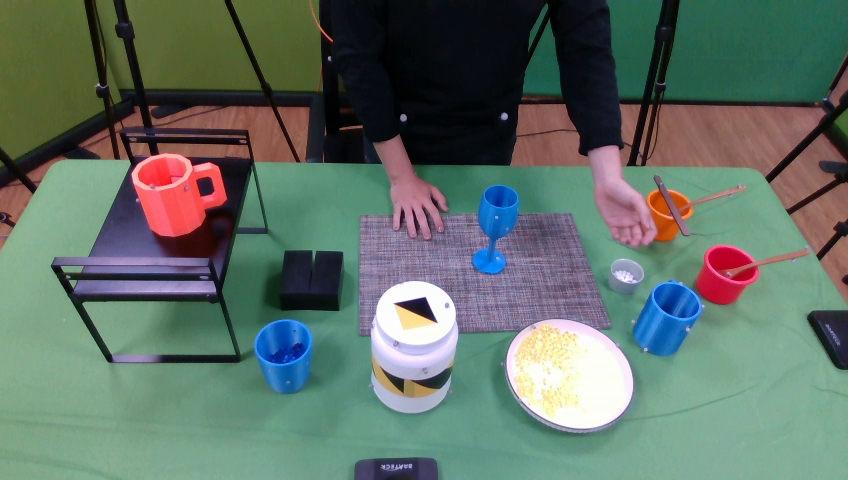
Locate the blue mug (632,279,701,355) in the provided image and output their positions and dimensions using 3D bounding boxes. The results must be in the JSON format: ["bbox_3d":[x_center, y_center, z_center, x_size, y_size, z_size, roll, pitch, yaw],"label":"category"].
[{"bbox_3d":[0.419,0.123,1.052,0.082,0.106,0.116,14,47,9],"label":"blue mug"}]

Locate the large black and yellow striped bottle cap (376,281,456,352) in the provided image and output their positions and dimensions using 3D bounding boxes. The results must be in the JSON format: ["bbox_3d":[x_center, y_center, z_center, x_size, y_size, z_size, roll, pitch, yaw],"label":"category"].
[{"bbox_3d":[-0.011,0.107,0.863,0.115,0.019,0.114,2,47,-2],"label":"large black and yellow striped bottle cap"}]

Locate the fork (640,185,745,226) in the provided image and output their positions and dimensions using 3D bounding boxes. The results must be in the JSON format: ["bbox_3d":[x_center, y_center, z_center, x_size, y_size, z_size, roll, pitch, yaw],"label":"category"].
[{"bbox_3d":[0.534,-0.069,1.215,0.207,0.019,0.028,-26,28,33],"label":"fork"}]

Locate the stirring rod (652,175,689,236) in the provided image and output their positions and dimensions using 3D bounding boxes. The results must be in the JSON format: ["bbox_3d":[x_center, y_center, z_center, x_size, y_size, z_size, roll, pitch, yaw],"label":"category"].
[{"bbox_3d":[0.491,-0.072,1.211,0.014,0.006,0.175,0,47,-6],"label":"stirring rod"}]

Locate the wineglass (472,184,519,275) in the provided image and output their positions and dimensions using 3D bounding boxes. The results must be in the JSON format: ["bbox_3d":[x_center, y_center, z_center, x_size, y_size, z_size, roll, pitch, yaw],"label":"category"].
[{"bbox_3d":[0.129,-0.018,1.113,0.074,0.173,0.073,2,46,-2],"label":"wineglass"}]

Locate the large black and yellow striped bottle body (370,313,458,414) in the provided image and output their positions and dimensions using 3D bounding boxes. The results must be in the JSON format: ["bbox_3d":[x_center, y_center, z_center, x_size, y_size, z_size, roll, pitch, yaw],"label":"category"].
[{"bbox_3d":[-0.017,0.165,0.924,0.131,0.185,0.130,2,46,-2],"label":"large black and yellow striped bottle body"}]

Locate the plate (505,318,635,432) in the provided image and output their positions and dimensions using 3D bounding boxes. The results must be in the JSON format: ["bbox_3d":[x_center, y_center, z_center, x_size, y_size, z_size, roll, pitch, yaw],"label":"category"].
[{"bbox_3d":[0.235,0.221,0.991,0.209,0.038,0.208,2,45,-2],"label":"plate"}]

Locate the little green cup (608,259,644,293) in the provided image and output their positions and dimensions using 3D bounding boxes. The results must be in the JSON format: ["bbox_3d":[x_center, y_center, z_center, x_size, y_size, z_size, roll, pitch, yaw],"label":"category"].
[{"bbox_3d":[0.379,0.070,1.147,0.061,0.039,0.061,3,45,-2],"label":"little green cup"}]

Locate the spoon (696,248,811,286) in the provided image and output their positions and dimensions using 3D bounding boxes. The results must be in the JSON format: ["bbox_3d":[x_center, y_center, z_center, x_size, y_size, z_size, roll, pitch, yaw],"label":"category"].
[{"bbox_3d":[0.600,0.048,1.112,0.193,0.022,0.041,-25,32,35],"label":"spoon"}]

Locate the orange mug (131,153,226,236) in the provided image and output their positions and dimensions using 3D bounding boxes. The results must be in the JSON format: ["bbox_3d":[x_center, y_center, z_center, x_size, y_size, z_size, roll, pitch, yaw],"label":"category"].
[{"bbox_3d":[-0.375,-0.075,0.937,0.126,0.101,0.083,-20,50,-16],"label":"orange mug"}]

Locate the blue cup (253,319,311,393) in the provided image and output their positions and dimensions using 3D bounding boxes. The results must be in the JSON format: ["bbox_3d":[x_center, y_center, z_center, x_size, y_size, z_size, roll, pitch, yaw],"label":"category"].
[{"bbox_3d":[-0.217,0.187,0.943,0.093,0.101,0.092,3,45,-3],"label":"blue cup"}]
